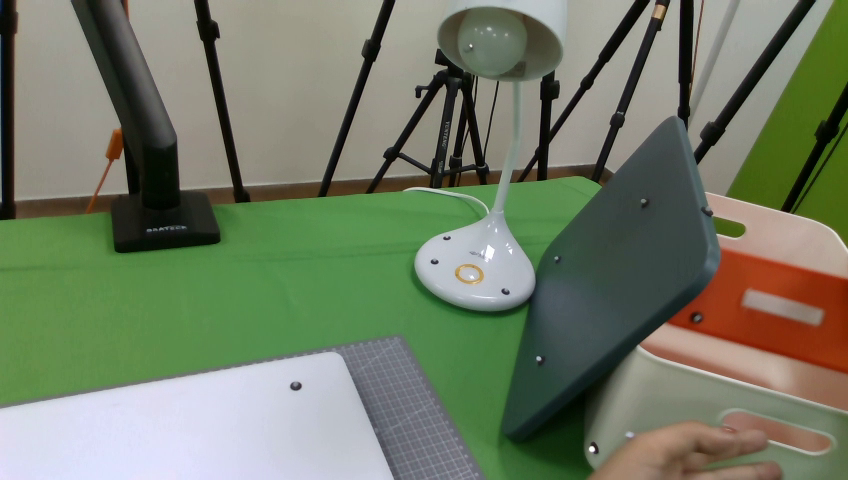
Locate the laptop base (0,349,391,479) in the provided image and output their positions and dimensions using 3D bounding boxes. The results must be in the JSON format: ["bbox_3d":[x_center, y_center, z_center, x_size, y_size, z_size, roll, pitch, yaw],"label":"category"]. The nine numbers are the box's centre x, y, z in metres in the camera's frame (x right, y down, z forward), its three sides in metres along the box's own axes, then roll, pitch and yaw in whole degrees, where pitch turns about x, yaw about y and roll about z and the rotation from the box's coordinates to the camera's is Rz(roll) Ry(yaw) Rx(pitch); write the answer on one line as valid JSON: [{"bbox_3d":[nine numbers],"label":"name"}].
[{"bbox_3d":[-0.202,0.195,0.452,0.356,0.023,0.232,-5,39,-26],"label":"laptop base"}]

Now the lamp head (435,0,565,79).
[{"bbox_3d":[0.076,-0.220,0.539,0.112,0.113,0.122,13,72,3],"label":"lamp head"}]

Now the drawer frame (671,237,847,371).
[{"bbox_3d":[0.318,0.048,0.604,0.201,0.083,0.214,16,5,10],"label":"drawer frame"}]

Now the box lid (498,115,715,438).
[{"bbox_3d":[0.184,0.020,0.639,0.015,0.264,0.369,35,33,-3],"label":"box lid"}]

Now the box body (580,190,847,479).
[{"bbox_3d":[0.307,0.095,0.638,0.254,0.161,0.362,15,32,7],"label":"box body"}]

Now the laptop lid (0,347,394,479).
[{"bbox_3d":[-0.199,0.186,0.444,0.358,0.013,0.239,-5,37,-24],"label":"laptop lid"}]

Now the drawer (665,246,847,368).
[{"bbox_3d":[0.317,0.051,0.602,0.194,0.073,0.212,15,5,11],"label":"drawer"}]

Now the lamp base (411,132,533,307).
[{"bbox_3d":[0.077,-0.037,0.757,0.160,0.181,0.178,16,30,7],"label":"lamp base"}]
